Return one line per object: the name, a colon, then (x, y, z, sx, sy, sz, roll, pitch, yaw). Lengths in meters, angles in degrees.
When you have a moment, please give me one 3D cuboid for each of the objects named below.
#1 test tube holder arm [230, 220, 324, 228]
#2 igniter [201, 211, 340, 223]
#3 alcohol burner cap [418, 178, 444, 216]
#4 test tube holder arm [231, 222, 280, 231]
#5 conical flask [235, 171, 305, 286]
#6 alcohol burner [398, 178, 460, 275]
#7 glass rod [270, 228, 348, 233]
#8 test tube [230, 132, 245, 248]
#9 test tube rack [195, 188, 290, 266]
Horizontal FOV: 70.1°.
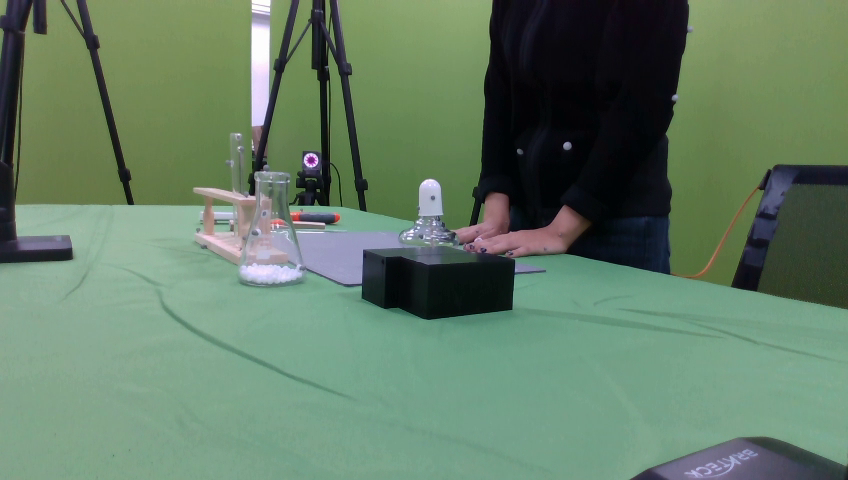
test tube holder arm: (-0.275, -0.030, 1.145, 0.179, 0.015, 0.013, -3, 45, -31)
igniter: (-0.311, -0.047, 1.243, 0.278, 0.025, 0.057, -1, -2, -24)
alcohol burner cap: (0.007, -0.053, 0.745, 0.034, 0.048, 0.034, -3, 6, 1)
test tube holder arm: (-0.312, -0.025, 1.118, 0.088, 0.015, 0.010, -1, 45, -30)
conical flask: (-0.168, -0.014, 0.663, 0.075, 0.122, 0.075, 2, 7, 0)
alcohol burner: (0.007, -0.017, 0.751, 0.078, 0.119, 0.078, 3, 10, 0)
glass rod: (-0.234, -0.017, 1.105, 0.201, 0.008, 0.008, 1, 7, -26)
test tube: (-0.242, -0.064, 0.789, 0.017, 0.150, 0.017, -1, 7, 0)
test tube rack: (-0.266, -0.025, 0.864, 0.067, 0.085, 0.241, -2, 9, -33)
